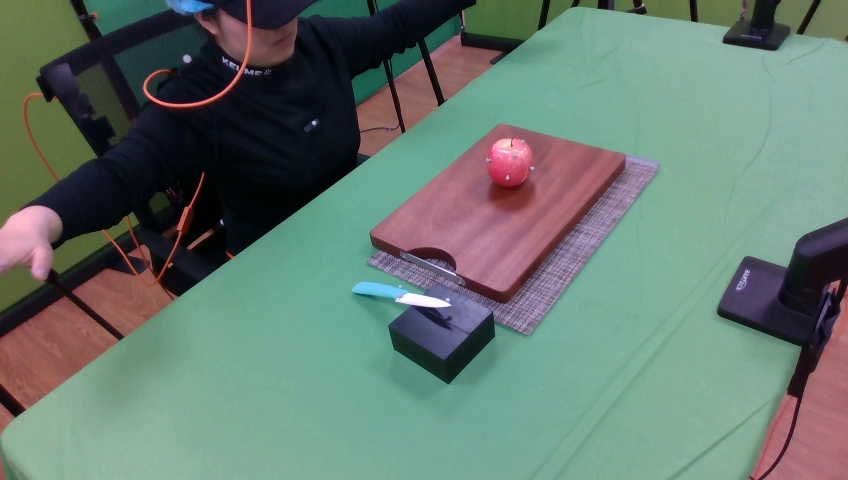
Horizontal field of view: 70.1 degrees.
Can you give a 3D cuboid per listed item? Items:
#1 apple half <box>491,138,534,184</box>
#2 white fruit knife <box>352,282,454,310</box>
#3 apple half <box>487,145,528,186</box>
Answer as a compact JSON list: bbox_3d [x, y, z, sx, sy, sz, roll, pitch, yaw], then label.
[{"bbox_3d":[0.156,-0.139,1.038,0.080,0.075,0.053,16,42,32],"label":"apple half"},{"bbox_3d":[-0.031,0.079,0.856,0.205,0.016,0.027,6,38,47],"label":"white fruit knife"},{"bbox_3d":[0.134,-0.118,1.014,0.080,0.081,0.033,18,44,29],"label":"apple half"}]
